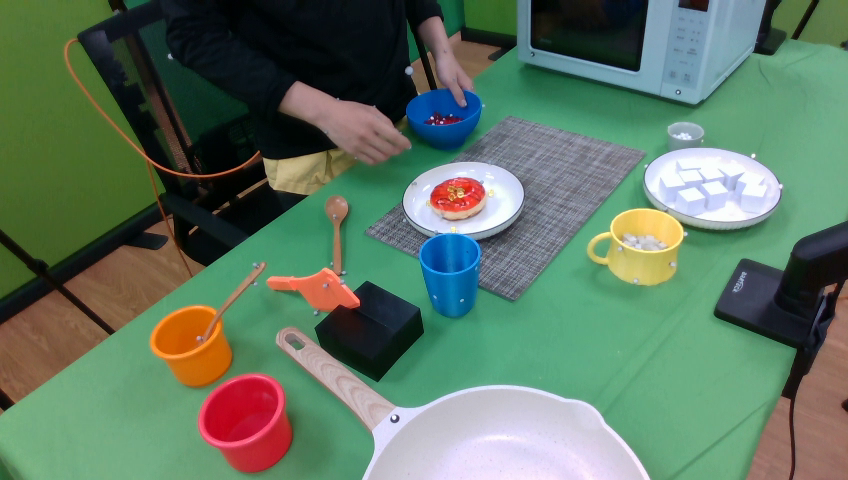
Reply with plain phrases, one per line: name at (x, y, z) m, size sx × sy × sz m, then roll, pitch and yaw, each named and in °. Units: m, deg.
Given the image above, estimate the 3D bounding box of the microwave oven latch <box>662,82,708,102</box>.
microwave oven latch at (0.517, -0.298, 1.202) m, size 0.078 × 0.029 × 0.030 m, roll 27°, pitch 52°, yaw 34°

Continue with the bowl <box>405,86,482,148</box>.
bowl at (0.041, -0.236, 1.197) m, size 0.151 × 0.077 × 0.150 m, roll -4°, pitch 41°, yaw 4°

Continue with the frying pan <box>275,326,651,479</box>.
frying pan at (0.003, 0.229, 0.641) m, size 0.484 × 0.103 × 0.308 m, roll 34°, pitch 54°, yaw 28°

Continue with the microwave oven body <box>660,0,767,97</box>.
microwave oven body at (0.473, -0.516, 1.313) m, size 0.438 × 0.261 × 0.327 m, roll 26°, pitch 51°, yaw 34°

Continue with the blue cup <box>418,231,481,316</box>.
blue cup at (0.040, 0.053, 0.843) m, size 0.092 × 0.100 × 0.092 m, roll -4°, pitch 43°, yaw 4°

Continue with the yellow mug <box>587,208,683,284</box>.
yellow mug at (0.305, 0.009, 0.884) m, size 0.131 × 0.064 × 0.099 m, roll -4°, pitch 41°, yaw 5°

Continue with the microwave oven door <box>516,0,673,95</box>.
microwave oven door at (0.344, -0.458, 1.256) m, size 0.353 × 0.245 × 0.039 m, roll 26°, pitch 51°, yaw 33°

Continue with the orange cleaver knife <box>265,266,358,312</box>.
orange cleaver knife at (-0.164, 0.073, 0.864) m, size 0.210 × 0.077 × 0.012 m, roll -6°, pitch 31°, yaw 50°

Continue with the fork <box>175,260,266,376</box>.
fork at (-0.268, 0.103, 0.792) m, size 0.207 × 0.019 × 0.028 m, roll -51°, pitch 41°, yaw 16°

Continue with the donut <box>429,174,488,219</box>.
donut at (0.058, -0.075, 1.015) m, size 0.099 × 0.048 × 0.098 m, roll -6°, pitch 38°, yaw 5°

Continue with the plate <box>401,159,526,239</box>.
plate at (0.067, -0.065, 1.019) m, size 0.209 × 0.038 × 0.208 m, roll -4°, pitch 40°, yaw 4°

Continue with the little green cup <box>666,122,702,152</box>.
little green cup at (0.471, -0.184, 1.102) m, size 0.061 × 0.039 × 0.061 m, roll -5°, pitch 41°, yaw 5°

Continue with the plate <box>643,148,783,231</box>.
plate at (0.464, -0.080, 0.986) m, size 0.207 × 0.039 × 0.206 m, roll -4°, pitch 41°, yaw 4°

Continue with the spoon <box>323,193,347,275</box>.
spoon at (-0.148, -0.014, 1.007) m, size 0.042 × 0.021 × 0.192 m, roll 5°, pitch 39°, yaw -13°
